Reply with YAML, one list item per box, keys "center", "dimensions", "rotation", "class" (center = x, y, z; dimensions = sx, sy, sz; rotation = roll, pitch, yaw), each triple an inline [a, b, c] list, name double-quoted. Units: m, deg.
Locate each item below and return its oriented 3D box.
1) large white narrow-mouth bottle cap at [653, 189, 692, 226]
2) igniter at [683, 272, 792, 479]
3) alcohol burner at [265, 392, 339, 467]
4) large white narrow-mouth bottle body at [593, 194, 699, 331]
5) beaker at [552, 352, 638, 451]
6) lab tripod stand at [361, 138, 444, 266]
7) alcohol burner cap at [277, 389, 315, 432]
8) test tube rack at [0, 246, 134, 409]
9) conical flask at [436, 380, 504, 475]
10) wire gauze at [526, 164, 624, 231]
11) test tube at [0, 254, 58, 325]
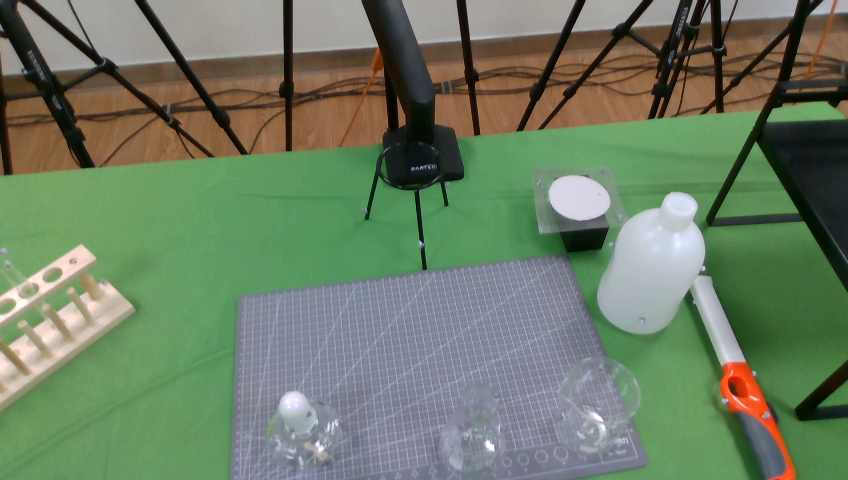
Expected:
- center: [0.269, -0.036, 0.659]
  dimensions: [0.038, 0.024, 0.037]
  rotation: [0, 51, 0]
  class: "large white narrow-mouth bottle cap"
- center: [0.368, 0.153, 0.725]
  dimensions: [0.057, 0.025, 0.273]
  rotation: [3, 50, -11]
  class: "igniter"
- center: [-0.129, 0.190, 0.632]
  dimensions: [0.078, 0.120, 0.077]
  rotation: [2, 49, -1]
  class: "alcohol burner"
- center: [0.270, 0.020, 0.725]
  dimensions: [0.102, 0.196, 0.101]
  rotation: [0, 50, 0]
  class: "large white narrow-mouth bottle body"
- center: [0.177, 0.178, 0.653]
  dimensions: [0.084, 0.101, 0.073]
  rotation: [-3, 50, -1]
  class: "beaker"
- center: [-0.020, -0.058, 0.825]
  dimensions: [0.148, 0.132, 0.147]
  rotation: [1, 52, -1]
  class: "lab tripod stand"
- center: [-0.129, 0.168, 0.603]
  dimensions: [0.034, 0.048, 0.033]
  rotation: [-3, 51, 4]
  class: "alcohol burner cap"
- center: [-0.478, 0.120, 0.707]
  dimensions: [0.066, 0.086, 0.242]
  rotation: [34, 58, 24]
  class: "test tube rack"
- center: [0.051, 0.189, 0.629]
  dimensions: [0.075, 0.123, 0.074]
  rotation: [0, 51, 0]
  class: "conical flask"
- center: [0.209, -0.063, 0.849]
  dimensions: [0.121, 0.011, 0.124]
  rotation: [-1, 51, -1]
  class: "wire gauze"
- center: [-0.460, 0.056, 0.694]
  dimensions: [0.017, 0.151, 0.017]
  rotation: [1, 53, -1]
  class: "test tube"
